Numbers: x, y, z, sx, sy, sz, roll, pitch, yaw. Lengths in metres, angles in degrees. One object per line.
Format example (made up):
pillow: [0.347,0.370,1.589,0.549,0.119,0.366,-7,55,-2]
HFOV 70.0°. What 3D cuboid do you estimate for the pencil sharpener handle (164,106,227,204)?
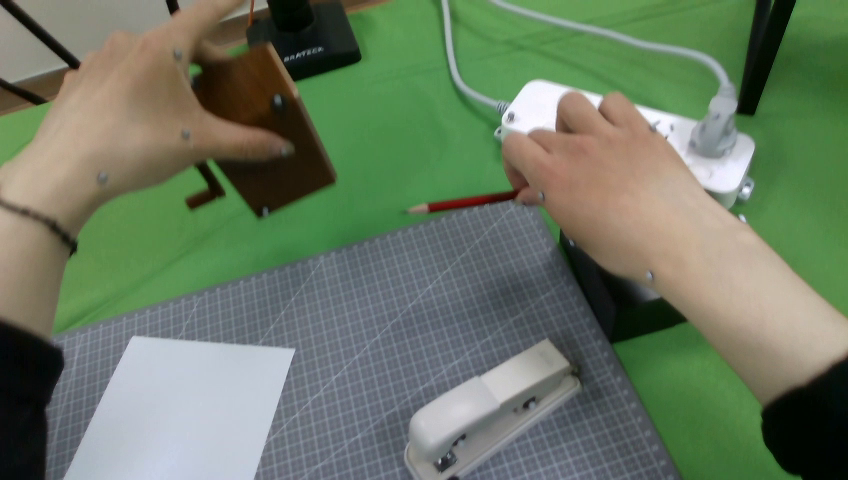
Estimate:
pencil sharpener handle: [-0.162,-0.055,0.415,0.030,0.068,0.035,-28,43,-7]

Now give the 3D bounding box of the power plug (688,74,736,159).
power plug: [0.246,-0.094,0.500,0.035,0.053,0.072,33,65,29]

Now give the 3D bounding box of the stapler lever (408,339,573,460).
stapler lever: [0.043,0.099,0.389,0.118,0.040,0.026,-30,55,-14]

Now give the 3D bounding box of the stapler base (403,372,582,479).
stapler base: [0.045,0.116,0.408,0.130,0.025,0.041,-30,56,-14]

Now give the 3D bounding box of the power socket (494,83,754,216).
power socket: [0.172,-0.085,0.535,0.225,0.033,0.072,23,60,25]

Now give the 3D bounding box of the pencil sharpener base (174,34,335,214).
pencil sharpener base: [-0.119,-0.078,0.435,0.077,0.108,0.061,-28,63,-7]

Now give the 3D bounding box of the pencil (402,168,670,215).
pencil: [0.080,-0.033,0.430,0.194,0.012,0.012,-9,52,-4]
